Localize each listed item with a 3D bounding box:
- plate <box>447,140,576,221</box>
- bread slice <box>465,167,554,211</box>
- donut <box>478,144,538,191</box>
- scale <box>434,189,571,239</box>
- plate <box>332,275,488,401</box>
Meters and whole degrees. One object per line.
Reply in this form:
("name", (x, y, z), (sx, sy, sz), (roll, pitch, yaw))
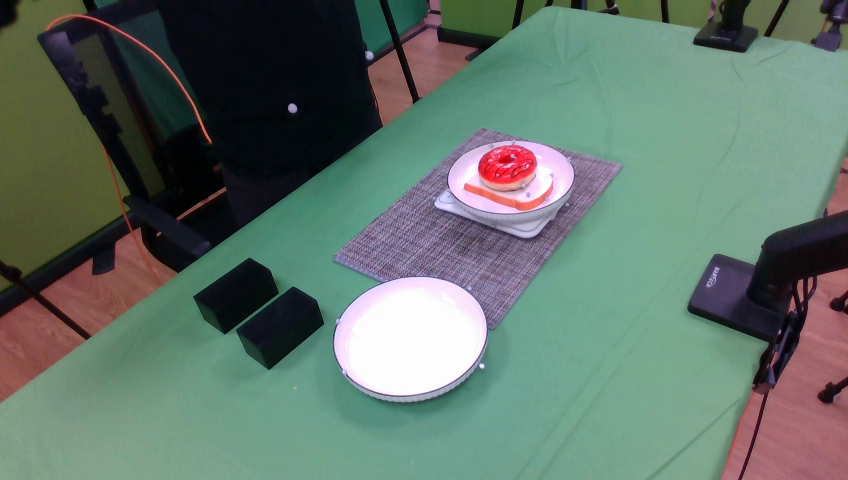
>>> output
("plate", (0.143, -0.094, 0.995), (0.209, 0.038, 0.208), (-4, 41, 4))
("bread slice", (0.149, -0.095, 0.999), (0.130, 0.019, 0.105), (25, 52, 33))
("donut", (0.135, -0.119, 0.983), (0.099, 0.048, 0.098), (-7, 42, 7))
("scale", (0.132, -0.075, 1.025), (0.199, 0.032, 0.149), (22, 48, 30))
("plate", (-0.017, 0.131, 0.808), (0.207, 0.039, 0.206), (-4, 41, 4))
